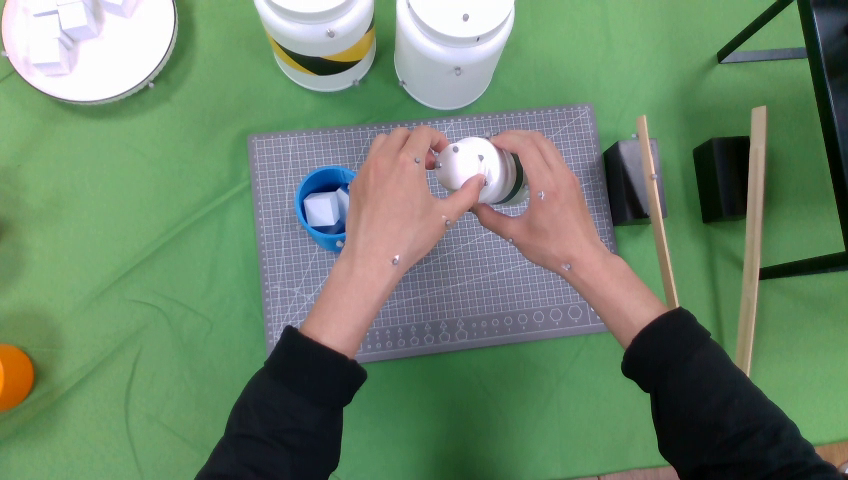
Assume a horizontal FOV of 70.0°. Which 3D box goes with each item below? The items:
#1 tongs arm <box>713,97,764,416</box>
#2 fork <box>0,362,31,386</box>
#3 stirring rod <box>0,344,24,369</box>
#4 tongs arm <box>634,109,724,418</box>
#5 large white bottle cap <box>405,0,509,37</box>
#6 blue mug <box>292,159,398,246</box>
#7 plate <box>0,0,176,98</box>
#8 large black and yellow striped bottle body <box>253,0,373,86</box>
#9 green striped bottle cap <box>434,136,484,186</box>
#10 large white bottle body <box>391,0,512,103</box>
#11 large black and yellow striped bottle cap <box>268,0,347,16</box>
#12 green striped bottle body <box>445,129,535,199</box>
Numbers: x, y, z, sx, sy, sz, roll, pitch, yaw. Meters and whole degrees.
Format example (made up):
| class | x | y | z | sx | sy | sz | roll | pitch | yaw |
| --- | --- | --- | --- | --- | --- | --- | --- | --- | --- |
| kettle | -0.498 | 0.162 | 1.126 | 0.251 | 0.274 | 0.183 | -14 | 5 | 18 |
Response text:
| class | x | y | z | sx | sy | sz | roll | pitch | yaw |
| --- | --- | --- | --- | --- | --- | --- | --- | --- | --- |
| tongs arm | 0.388 | 0.022 | 0.740 | 0.028 | 0.027 | 0.387 | 2 | 94 | -13 |
| fork | -0.529 | 0.133 | 0.630 | 0.209 | 0.018 | 0.028 | 20 | 76 | -45 |
| stirring rod | -0.501 | 0.168 | 0.633 | 0.014 | 0.006 | 0.175 | 40 | 39 | -1 |
| tongs arm | 0.307 | 0.031 | 0.730 | 0.051 | 0.026 | 0.385 | -11 | 95 | -8 |
| large white bottle cap | 0.034 | -0.266 | 0.622 | 0.115 | 0.018 | 0.114 | 1 | 82 | -5 |
| blue mug | -0.088 | -0.040 | 0.706 | 0.117 | 0.106 | 0.082 | 1 | 82 | -4 |
| plate | -0.410 | -0.272 | 0.748 | 0.208 | 0.039 | 0.207 | 1 | 83 | -4 |
| large black and yellow striped bottle body | -0.125 | -0.272 | 0.696 | 0.131 | 0.184 | 0.130 | 1 | 82 | -4 |
| green striped bottle cap | 0.032 | -0.071 | 0.548 | 0.044 | 0.020 | 0.044 | 1 | 92 | 28 |
| large white bottle body | 0.029 | -0.253 | 0.706 | 0.131 | 0.185 | 0.130 | 1 | 81 | -4 |
| large black and yellow striped bottle cap | -0.120 | -0.285 | 0.614 | 0.115 | 0.019 | 0.114 | 1 | 83 | -6 |
| green striped bottle body | 0.060 | -0.074 | 0.597 | 0.063 | 0.120 | 0.063 | 1 | 92 | 31 |
